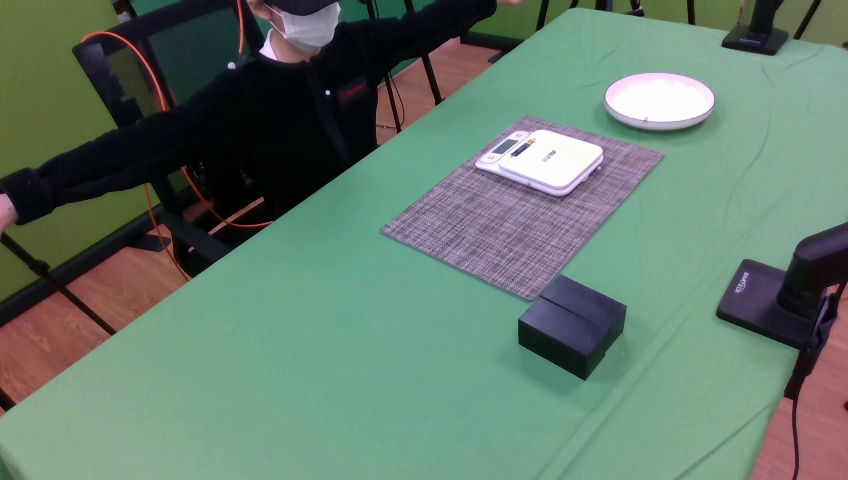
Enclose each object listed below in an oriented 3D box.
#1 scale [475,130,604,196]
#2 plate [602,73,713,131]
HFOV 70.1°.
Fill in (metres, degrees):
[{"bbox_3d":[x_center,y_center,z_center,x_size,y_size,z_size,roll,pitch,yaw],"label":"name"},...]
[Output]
[{"bbox_3d":[0.209,-0.148,1.105,0.199,0.032,0.149,26,50,34],"label":"scale"},{"bbox_3d":[0.463,-0.271,1.210,0.207,0.039,0.206,-4,40,4],"label":"plate"}]
